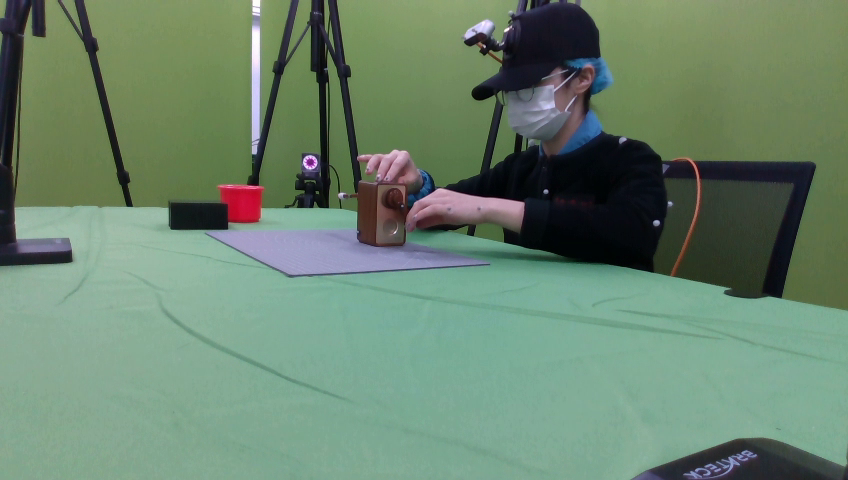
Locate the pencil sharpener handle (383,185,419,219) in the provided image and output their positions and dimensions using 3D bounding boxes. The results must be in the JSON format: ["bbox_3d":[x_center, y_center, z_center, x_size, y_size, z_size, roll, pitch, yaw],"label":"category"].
[{"bbox_3d":[-0.034,-0.059,0.979,0.068,0.036,0.030,50,-19,-28],"label":"pencil sharpener handle"}]

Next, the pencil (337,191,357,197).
[{"bbox_3d":[-0.119,-0.083,1.099,0.012,0.012,0.193,-2,4,-29],"label":"pencil"}]

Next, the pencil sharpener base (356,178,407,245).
[{"bbox_3d":[-0.071,-0.049,1.018,0.062,0.107,0.076,-2,9,-32],"label":"pencil sharpener base"}]
